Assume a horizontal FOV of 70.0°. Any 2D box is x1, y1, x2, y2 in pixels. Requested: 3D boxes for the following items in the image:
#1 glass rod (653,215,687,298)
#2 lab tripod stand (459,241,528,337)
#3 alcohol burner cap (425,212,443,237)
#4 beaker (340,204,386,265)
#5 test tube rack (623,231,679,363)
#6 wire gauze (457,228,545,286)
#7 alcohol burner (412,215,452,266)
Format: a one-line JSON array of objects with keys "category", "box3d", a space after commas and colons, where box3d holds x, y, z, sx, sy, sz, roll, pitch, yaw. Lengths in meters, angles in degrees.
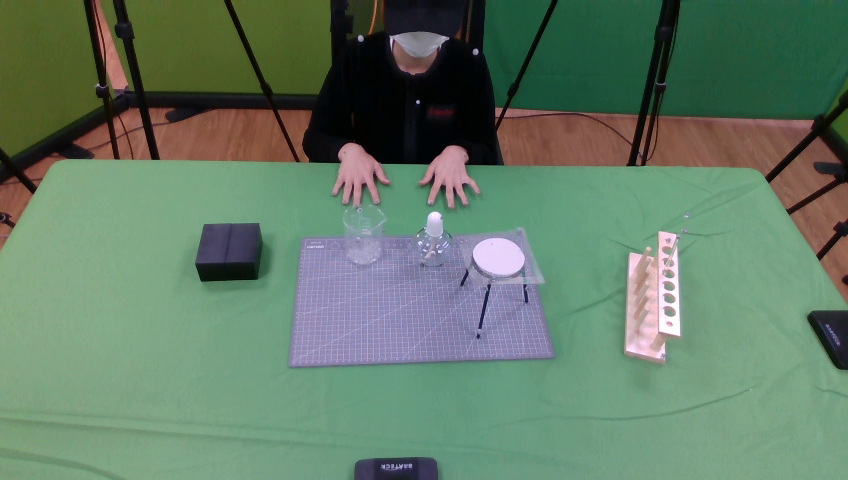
[{"category": "glass rod", "box3d": [0.431, 0.034, 1.063, 0.008, 0.201, 0.008, 0, 42, 0]}, {"category": "lab tripod stand", "box3d": [0.122, 0.075, 1.054, 0.148, 0.132, 0.147, 3, 44, -3]}, {"category": "alcohol burner cap", "box3d": [0.019, -0.032, 1.114, 0.034, 0.048, 0.033, 0, 48, 0]}, {"category": "beaker", "box3d": [-0.114, -0.008, 1.140, 0.084, 0.101, 0.073, -3, 47, -8]}, {"category": "test tube rack", "box3d": [0.410, 0.094, 1.096, 0.066, 0.085, 0.241, 13, 46, 9]}, {"category": "wire gauze", "box3d": [0.126, 0.029, 1.006, 0.125, 0.011, 0.120, -4, 46, -10]}, {"category": "alcohol burner", "box3d": [0.017, -0.006, 1.139, 0.078, 0.119, 0.077, 2, 48, -2]}]
